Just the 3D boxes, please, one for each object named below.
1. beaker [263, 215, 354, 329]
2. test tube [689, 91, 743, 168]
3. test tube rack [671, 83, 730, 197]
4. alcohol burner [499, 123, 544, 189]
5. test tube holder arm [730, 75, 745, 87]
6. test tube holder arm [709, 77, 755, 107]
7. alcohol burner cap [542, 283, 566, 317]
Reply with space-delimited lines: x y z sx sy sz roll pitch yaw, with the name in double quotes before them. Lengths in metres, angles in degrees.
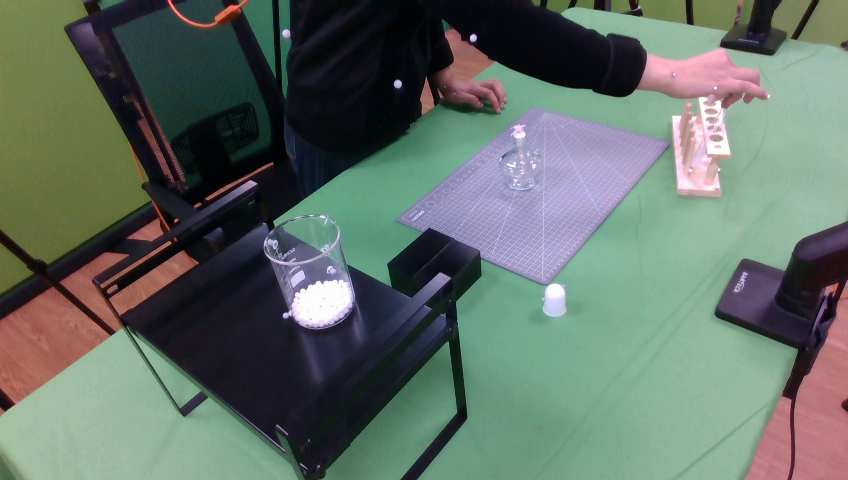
"beaker" -0.112 0.034 0.616 0.073 0.101 0.084 13 44 23
"test tube" 0.484 -0.187 1.005 0.017 0.150 0.017 19 24 -9
"test tube rack" 0.482 -0.184 1.067 0.066 0.085 0.242 5 42 15
"alcohol burner" 0.169 -0.149 1.048 0.078 0.119 0.077 -6 41 5
"test tube holder arm" 0.493 -0.245 0.953 0.010 0.015 0.088 16 31 29
"test tube holder arm" 0.470 -0.227 0.918 0.013 0.015 0.179 20 34 36
"alcohol burner cap" 0.182 0.081 0.839 0.034 0.048 0.033 -4 41 4
